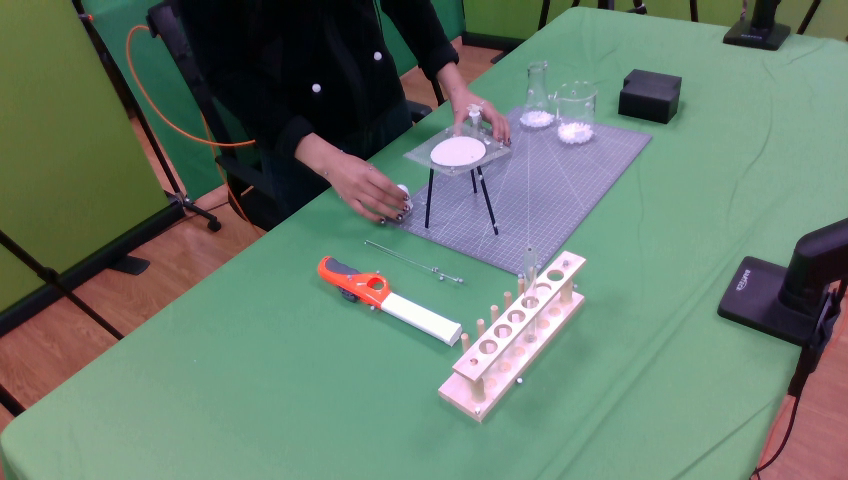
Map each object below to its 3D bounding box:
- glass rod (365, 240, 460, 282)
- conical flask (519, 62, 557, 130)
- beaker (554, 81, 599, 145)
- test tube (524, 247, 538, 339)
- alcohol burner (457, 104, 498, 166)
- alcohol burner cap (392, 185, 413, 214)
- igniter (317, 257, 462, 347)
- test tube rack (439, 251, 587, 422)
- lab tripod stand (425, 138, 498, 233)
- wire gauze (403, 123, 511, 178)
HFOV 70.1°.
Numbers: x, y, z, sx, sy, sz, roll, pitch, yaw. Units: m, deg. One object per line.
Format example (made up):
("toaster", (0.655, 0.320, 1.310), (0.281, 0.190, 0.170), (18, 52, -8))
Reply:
("glass rod", (-0.022, 0.032, 0.961), (0.198, 0.008, 0.008), (21, 49, 35))
("conical flask", (0.225, -0.287, 1.198), (0.075, 0.122, 0.075), (-6, 40, 5))
("beaker", (0.286, -0.237, 1.144), (0.084, 0.101, 0.073), (-17, 40, -7))
("test tube", (0.133, 0.070, 0.749), (0.017, 0.151, 0.017), (-5, 38, 4))
("alcohol burner", (0.099, -0.198, 1.124), (0.078, 0.119, 0.077), (-5, 38, 4))
("alcohol burner cap", (-0.039, -0.072, 1.039), (0.034, 0.048, 0.033), (-8, 39, 7))
("igniter", (-0.061, 0.086, 0.891), (0.274, 0.025, 0.057), (23, 59, 33))
("test tube rack", (0.118, 0.111, 0.780), (0.066, 0.085, 0.243), (26, 51, 35))
("lab tripod stand", (0.063, -0.091, 0.988), (0.148, 0.132, 0.147), (-6, 39, 6))
("wire gauze", (0.051, -0.140, 0.943), (0.125, 0.011, 0.120), (-31, 43, -25))
